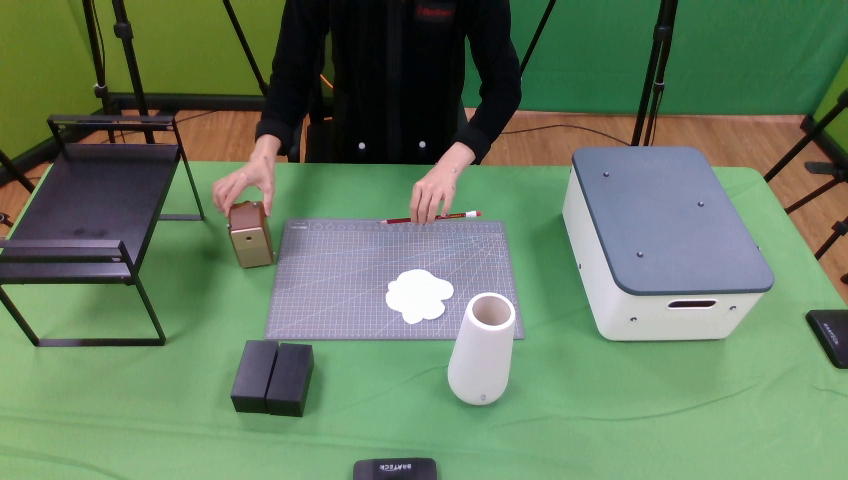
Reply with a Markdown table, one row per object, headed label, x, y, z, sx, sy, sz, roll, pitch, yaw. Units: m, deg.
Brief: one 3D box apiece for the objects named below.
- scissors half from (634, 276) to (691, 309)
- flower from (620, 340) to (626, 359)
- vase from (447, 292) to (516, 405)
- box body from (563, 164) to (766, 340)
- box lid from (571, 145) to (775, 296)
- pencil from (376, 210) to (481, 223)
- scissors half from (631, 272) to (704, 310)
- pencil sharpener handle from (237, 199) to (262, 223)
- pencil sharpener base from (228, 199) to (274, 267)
| label | x | y | z | sx | sy | sz | roll | pitch | yaw |
| --- | --- | --- | --- | --- | --- | --- | --- | --- | --- |
| scissors half | 0.454 | 0.096 | 1.144 | 0.175 | 0.040 | 0.013 | -20 | 89 | -31 |
| flower | 0.416 | 0.065 | 1.186 | 0.038 | 0.044 | 0.360 | 29 | 64 | -20 |
| vase | 0.091 | 0.168 | 0.921 | 0.098 | 0.201 | 0.097 | 3 | 47 | -3 |
| box body | 0.421 | 0.003 | 1.130 | 0.254 | 0.161 | 0.361 | 0 | 46 | -5 |
| box lid | 0.424 | -0.048 | 1.074 | 0.263 | 0.015 | 0.369 | -1 | 46 | -4 |
| pencil | 0.010 | -0.042 | 1.108 | 0.194 | 0.012 | 0.012 | -5 | 47 | -7 |
| scissors half | 0.460 | 0.092 | 1.132 | 0.175 | 0.040 | 0.013 | -22 | 83 | -21 |
| pencil sharpener handle | -0.326 | -0.060 | 1.142 | 0.036 | 0.068 | 0.030 | -21 | 50 | 4 |
| pencil sharpener base | -0.319 | -0.013 | 1.118 | 0.061 | 0.107 | 0.076 | -10 | 49 | -8 |
